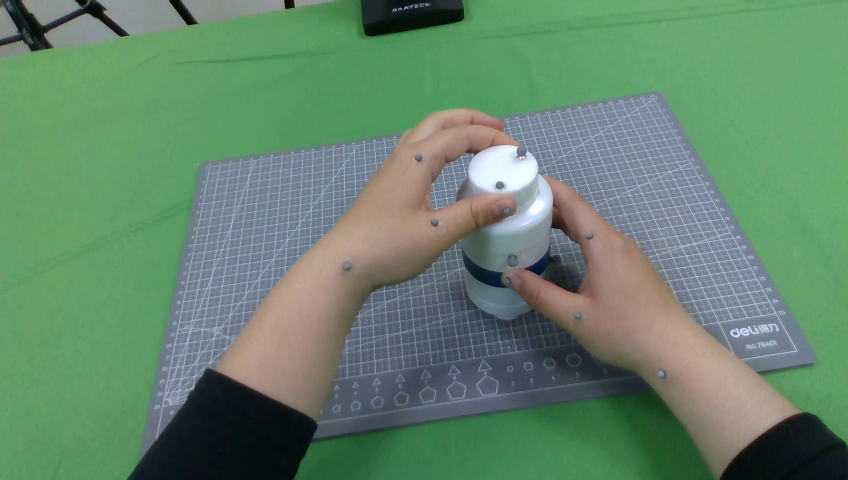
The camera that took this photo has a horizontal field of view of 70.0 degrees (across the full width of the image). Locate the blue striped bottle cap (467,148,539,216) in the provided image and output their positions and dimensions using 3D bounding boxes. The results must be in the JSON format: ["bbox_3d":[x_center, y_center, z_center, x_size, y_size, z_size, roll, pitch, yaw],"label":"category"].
[{"bbox_3d":[0.048,-0.037,0.374,0.044,0.021,0.044,-4,47,5],"label":"blue striped bottle cap"}]

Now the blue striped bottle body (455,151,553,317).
[{"bbox_3d":[0.055,-0.005,0.414,0.063,0.122,0.062,-4,50,5],"label":"blue striped bottle body"}]
